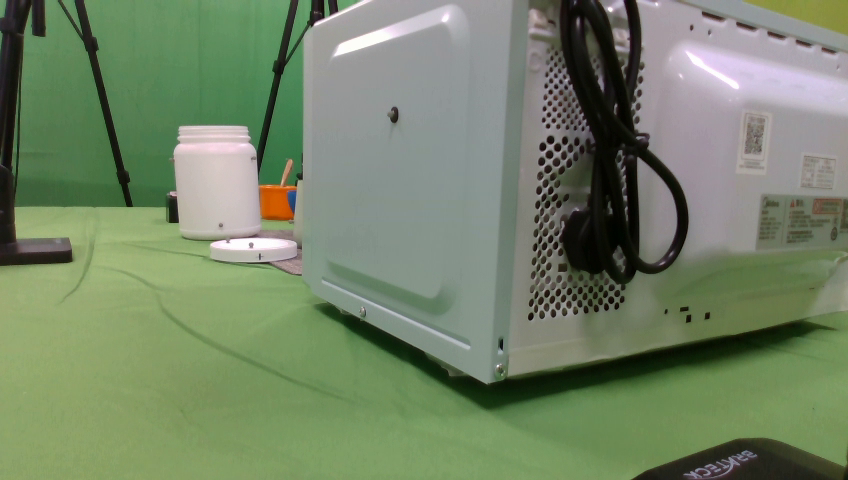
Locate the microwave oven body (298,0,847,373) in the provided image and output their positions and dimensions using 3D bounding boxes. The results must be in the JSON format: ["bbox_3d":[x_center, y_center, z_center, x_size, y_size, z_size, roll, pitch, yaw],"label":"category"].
[{"bbox_3d":[0.151,-0.055,0.543,0.444,0.260,0.324,-1,7,-33],"label":"microwave oven body"}]

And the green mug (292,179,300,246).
[{"bbox_3d":[-0.142,-0.041,0.942,0.126,0.105,0.092,-2,8,-32],"label":"green mug"}]

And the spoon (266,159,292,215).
[{"bbox_3d":[-0.334,-0.127,1.424,0.041,0.193,0.022,0,-37,7],"label":"spoon"}]

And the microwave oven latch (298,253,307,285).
[{"bbox_3d":[-0.082,0.027,0.583,0.079,0.029,0.030,-1,7,-33],"label":"microwave oven latch"}]

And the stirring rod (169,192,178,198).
[{"bbox_3d":[-0.465,-0.098,1.283,0.014,0.006,0.177,42,21,17],"label":"stirring rod"}]

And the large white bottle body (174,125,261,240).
[{"bbox_3d":[-0.349,-0.100,1.024,0.131,0.184,0.130,-1,9,0],"label":"large white bottle body"}]

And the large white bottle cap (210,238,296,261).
[{"bbox_3d":[-0.236,0.012,0.839,0.115,0.018,0.115,2,7,0],"label":"large white bottle cap"}]

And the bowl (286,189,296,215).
[{"bbox_3d":[-0.179,-0.051,1.115,0.151,0.077,0.151,3,8,0],"label":"bowl"}]

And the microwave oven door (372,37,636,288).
[{"bbox_3d":[0.110,-0.080,0.686,0.358,0.243,0.039,-2,9,-33],"label":"microwave oven door"}]
